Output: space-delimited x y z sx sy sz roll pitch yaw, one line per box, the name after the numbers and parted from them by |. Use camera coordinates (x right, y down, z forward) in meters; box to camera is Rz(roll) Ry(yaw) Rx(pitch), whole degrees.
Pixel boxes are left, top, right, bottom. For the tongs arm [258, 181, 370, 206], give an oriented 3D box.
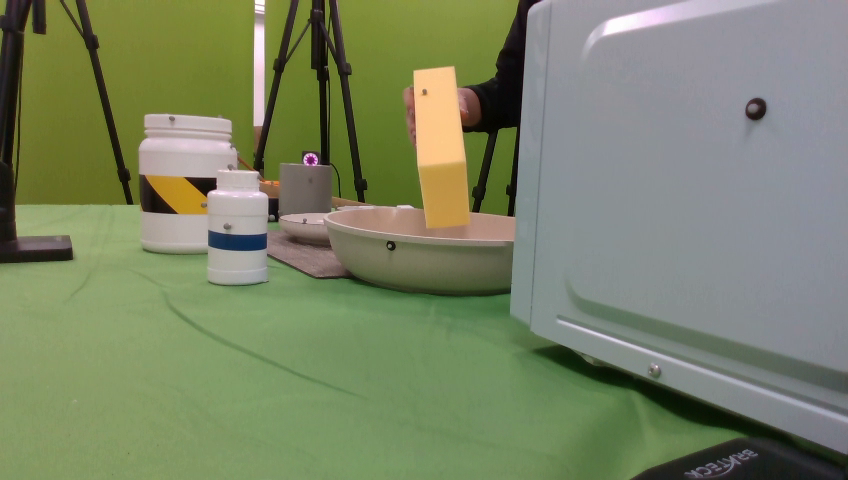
-0.241 -0.095 1.373 0.387 0.026 0.050 9 0 -37 | tongs arm

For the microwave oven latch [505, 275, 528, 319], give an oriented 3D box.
0.100 0.042 0.472 0.079 0.029 0.030 -2 8 -30 | microwave oven latch

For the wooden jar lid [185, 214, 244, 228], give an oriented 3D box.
-0.404 -0.037 1.169 0.108 0.020 0.108 3 7 0 | wooden jar lid

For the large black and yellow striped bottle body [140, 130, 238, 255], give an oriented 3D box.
-0.336 -0.078 0.871 0.131 0.184 0.130 2 8 0 | large black and yellow striped bottle body

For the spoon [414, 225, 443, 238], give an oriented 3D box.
0.017 -0.020 1.113 0.041 0.021 0.194 -14 3 12 | spoon

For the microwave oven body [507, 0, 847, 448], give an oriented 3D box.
0.331 -0.042 0.425 0.444 0.260 0.324 -2 8 -31 | microwave oven body

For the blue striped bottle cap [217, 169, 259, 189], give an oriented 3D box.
-0.202 -0.067 0.656 0.044 0.020 0.044 0 10 0 | blue striped bottle cap

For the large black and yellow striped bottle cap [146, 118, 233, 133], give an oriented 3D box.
-0.333 -0.163 0.861 0.115 0.019 0.115 1 9 0 | large black and yellow striped bottle cap

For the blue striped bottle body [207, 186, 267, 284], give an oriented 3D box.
-0.204 -0.016 0.663 0.063 0.120 0.063 2 7 0 | blue striped bottle body

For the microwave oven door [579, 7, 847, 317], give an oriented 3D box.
0.294 -0.067 0.570 0.358 0.243 0.039 -3 9 -31 | microwave oven door

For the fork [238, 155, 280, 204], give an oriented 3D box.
-0.396 -0.143 1.487 0.028 0.018 0.208 19 -26 44 | fork

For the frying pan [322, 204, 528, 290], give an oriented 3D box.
0.109 -0.017 0.800 0.490 0.102 0.305 -12 16 -30 | frying pan

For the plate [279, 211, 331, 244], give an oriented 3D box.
-0.139 -0.022 1.021 0.209 0.038 0.209 2 8 0 | plate

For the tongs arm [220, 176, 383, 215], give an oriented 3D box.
-0.285 -0.104 1.445 0.389 0.027 0.028 9 -4 -23 | tongs arm

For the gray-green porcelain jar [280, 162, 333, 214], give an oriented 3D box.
-0.238 -0.092 1.221 0.106 0.126 0.106 2 7 0 | gray-green porcelain jar

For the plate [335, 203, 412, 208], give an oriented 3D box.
-0.089 -0.053 1.309 0.208 0.039 0.207 2 8 0 | plate

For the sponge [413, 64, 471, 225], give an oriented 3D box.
0.023 -0.134 0.833 0.061 0.118 0.206 -6 48 3 | sponge
